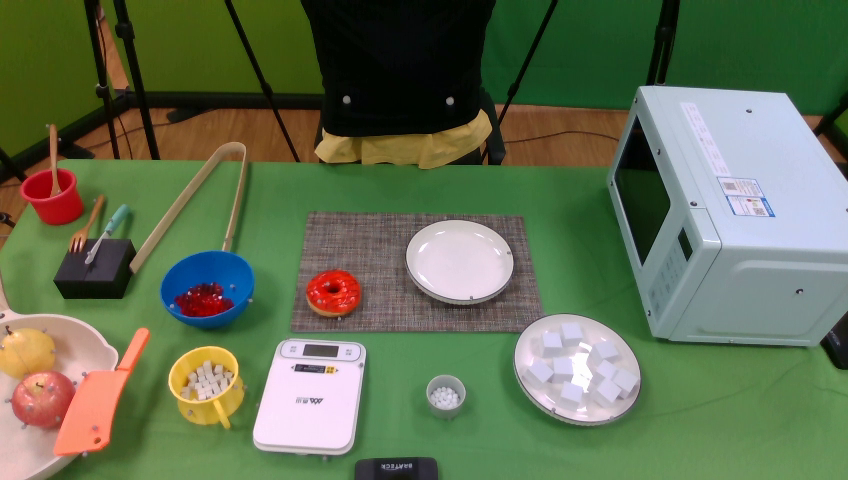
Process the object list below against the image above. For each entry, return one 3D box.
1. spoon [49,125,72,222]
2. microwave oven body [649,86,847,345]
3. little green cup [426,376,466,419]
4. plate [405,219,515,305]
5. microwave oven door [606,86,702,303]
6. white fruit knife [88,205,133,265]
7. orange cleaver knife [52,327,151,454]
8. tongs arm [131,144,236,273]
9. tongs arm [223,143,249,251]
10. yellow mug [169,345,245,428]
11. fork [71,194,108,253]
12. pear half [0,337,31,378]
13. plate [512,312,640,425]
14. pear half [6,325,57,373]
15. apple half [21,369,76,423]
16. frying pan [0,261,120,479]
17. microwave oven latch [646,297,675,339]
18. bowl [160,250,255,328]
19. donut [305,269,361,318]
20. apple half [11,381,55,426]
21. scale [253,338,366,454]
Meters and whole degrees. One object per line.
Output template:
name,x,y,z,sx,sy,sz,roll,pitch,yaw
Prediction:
spoon,-0.718,-0.131,1.189,0.041,0.021,0.193,-3,90,-6
microwave oven body,0.567,-0.053,1.118,0.326,0.261,0.439,2,45,-1
little green cup,0.033,0.248,0.950,0.061,0.039,0.061,2,46,-2
plate,0.067,0.044,1.144,0.209,0.038,0.208,2,46,-2
microwave oven door,0.422,-0.094,1.140,0.039,0.245,0.353,3,46,-1
white fruit knife,-0.583,-0.013,1.129,0.016,0.027,0.206,-2,32,-4
orange cleaver knife,-0.462,0.212,0.879,0.077,0.012,0.210,6,45,-1
tongs arm,-0.483,-0.078,1.235,0.028,0.028,0.385,6,45,13
tongs arm,-0.397,-0.073,1.232,0.051,0.026,0.382,-2,45,0
yellow mug,-0.322,0.230,0.922,0.100,0.064,0.130,-24,53,-25
fork,-0.634,-0.036,1.158,0.028,0.019,0.206,-7,31,-8
pear half,-0.631,0.183,0.923,0.070,0.088,0.031,28,50,14
plate,0.246,0.213,0.999,0.208,0.039,0.206,2,46,-2
pear half,-0.607,0.158,0.935,0.076,0.110,0.056,31,51,19
apple half,-0.546,0.226,0.898,0.080,0.075,0.053,30,48,27
frying pan,-0.647,0.164,0.936,0.307,0.103,0.485,-19,58,-22
microwave oven latch,0.412,0.134,1.061,0.030,0.029,0.078,4,45,1
bowl,-0.362,0.098,1.040,0.151,0.077,0.150,2,45,-2
donut,-0.160,0.094,1.075,0.099,0.048,0.098,4,45,-3
apple half,-0.570,0.246,0.875,0.081,0.081,0.033,32,49,24
scale,-0.175,0.236,0.951,0.149,0.032,0.199,4,45,-1
